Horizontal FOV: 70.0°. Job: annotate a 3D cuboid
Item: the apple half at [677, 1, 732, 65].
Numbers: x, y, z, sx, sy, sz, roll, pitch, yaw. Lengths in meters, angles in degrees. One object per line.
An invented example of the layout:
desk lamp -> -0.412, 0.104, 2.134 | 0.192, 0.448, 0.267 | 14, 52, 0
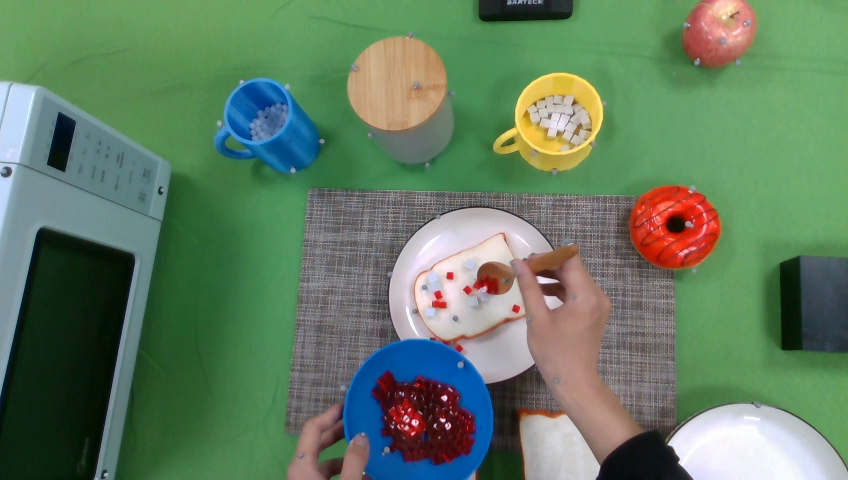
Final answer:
apple half -> 0.320, -0.235, 0.713 | 0.033, 0.081, 0.081 | -30, 77, -4

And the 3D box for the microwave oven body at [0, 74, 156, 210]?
microwave oven body -> -0.527, 0.067, 0.666 | 0.325, 0.261, 0.440 | 5, 81, 7

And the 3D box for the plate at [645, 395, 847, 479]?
plate -> 0.338, 0.270, 0.642 | 0.209, 0.038, 0.208 | -1, 80, 8

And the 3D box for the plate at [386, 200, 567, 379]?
plate -> 0.060, 0.058, 0.710 | 0.207, 0.039, 0.207 | -1, 80, 7

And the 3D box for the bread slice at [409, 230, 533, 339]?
bread slice -> 0.050, 0.059, 0.713 | 0.131, 0.019, 0.104 | -23, 77, 0

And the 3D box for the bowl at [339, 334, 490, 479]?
bowl -> -0.015, 0.179, 0.622 | 0.152, 0.077, 0.150 | 5, 66, -12

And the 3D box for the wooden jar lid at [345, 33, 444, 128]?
wooden jar lid -> -0.031, -0.170, 0.655 | 0.108, 0.021, 0.108 | -2, 78, 7

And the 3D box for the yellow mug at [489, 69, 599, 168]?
yellow mug -> 0.139, -0.138, 0.723 | 0.131, 0.064, 0.099 | -22, 78, 3

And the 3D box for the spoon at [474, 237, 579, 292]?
spoon -> 0.096, 0.025, 0.595 | 0.021, 0.193, 0.041 | -35, 91, -20

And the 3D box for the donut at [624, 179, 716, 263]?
donut -> 0.280, -0.021, 0.693 | 0.099, 0.048, 0.098 | -1, 81, 6

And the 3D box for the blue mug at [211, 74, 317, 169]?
blue mug -> -0.202, -0.136, 0.744 | 0.116, 0.106, 0.082 | -23, 77, 3

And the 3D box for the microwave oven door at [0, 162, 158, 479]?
microwave oven door -> -0.389, 0.121, 0.634 | 0.039, 0.245, 0.354 | 5, 80, 8

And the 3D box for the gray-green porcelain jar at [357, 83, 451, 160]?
gray-green porcelain jar -> -0.023, -0.158, 0.716 | 0.106, 0.127, 0.105 | -1, 79, 7

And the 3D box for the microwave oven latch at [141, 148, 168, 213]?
microwave oven latch -> -0.348, -0.076, 0.768 | 0.030, 0.029, 0.079 | 7, 82, 8

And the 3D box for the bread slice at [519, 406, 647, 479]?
bread slice -> 0.172, 0.233, 0.642 | 0.135, 0.018, 0.106 | -2, 76, -14

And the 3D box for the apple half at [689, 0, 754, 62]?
apple half -> 0.353, -0.255, 0.714 | 0.053, 0.075, 0.080 | -29, 74, -4
